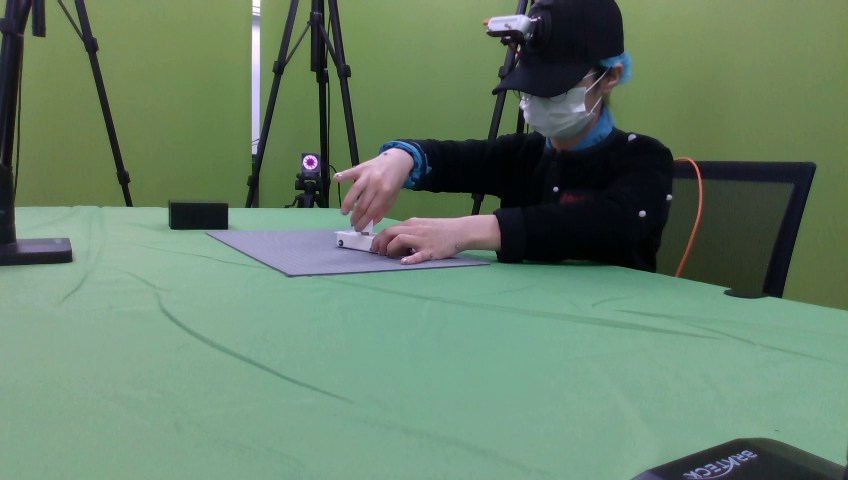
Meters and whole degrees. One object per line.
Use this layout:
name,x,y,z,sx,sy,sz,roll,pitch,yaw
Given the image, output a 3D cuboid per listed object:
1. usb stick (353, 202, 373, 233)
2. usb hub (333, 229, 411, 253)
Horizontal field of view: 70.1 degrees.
usb stick,-0.095,-0.030,0.934,0.021,0.059,0.027,5,8,34
usb hub,-0.083,0.000,0.945,0.124,0.025,0.050,8,9,36
